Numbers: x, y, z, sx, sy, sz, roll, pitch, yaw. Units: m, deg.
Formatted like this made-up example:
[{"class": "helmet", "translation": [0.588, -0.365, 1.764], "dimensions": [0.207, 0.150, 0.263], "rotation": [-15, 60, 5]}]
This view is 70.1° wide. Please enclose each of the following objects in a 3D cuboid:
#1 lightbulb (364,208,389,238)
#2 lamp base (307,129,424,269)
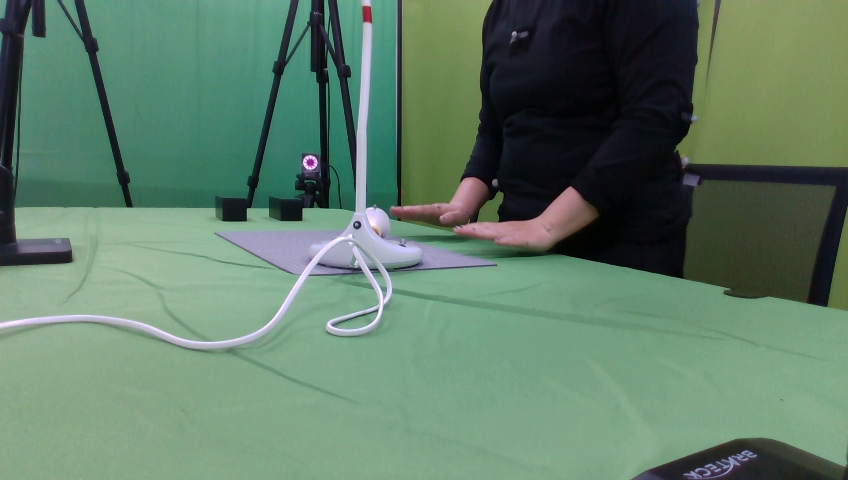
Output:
[{"class": "lightbulb", "translation": [-0.089, -0.017, 1.019], "dimensions": [0.059, 0.059, 0.107], "rotation": [3, 23, -2]}, {"class": "lamp base", "translation": [-0.077, -0.057, 0.811], "dimensions": [0.161, 0.180, 0.179], "rotation": [2, 10, -4]}]
